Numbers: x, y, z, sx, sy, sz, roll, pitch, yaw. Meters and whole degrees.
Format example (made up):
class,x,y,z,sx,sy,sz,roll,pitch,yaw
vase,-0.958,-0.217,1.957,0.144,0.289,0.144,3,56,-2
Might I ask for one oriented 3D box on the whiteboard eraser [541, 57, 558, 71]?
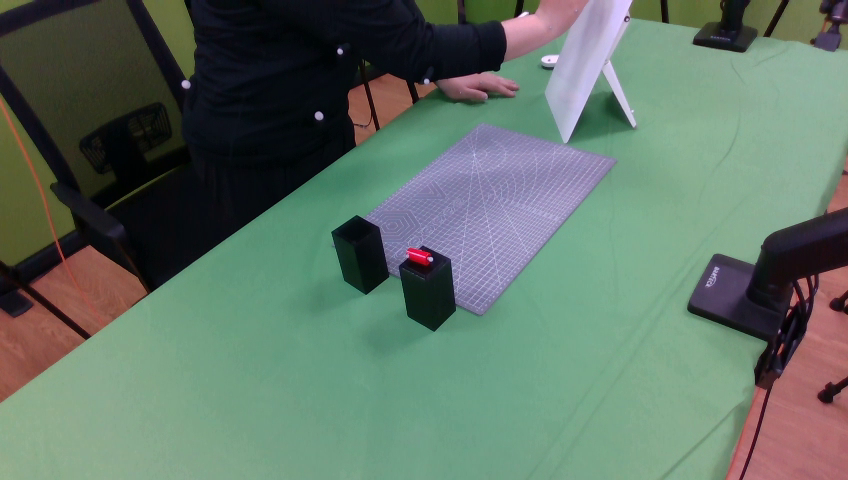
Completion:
class,x,y,z,sx,sy,sz,roll,pitch,yaw
whiteboard eraser,0.324,-0.412,1.408,0.101,0.019,0.041,2,42,11

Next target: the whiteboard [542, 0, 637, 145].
class,x,y,z,sx,sy,sz,roll,pitch,yaw
whiteboard,0.366,-0.351,1.160,0.144,0.305,0.216,10,39,-10

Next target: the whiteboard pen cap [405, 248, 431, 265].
class,x,y,z,sx,sy,sz,roll,pitch,yaw
whiteboard pen cap,-0.008,0.021,0.794,0.032,0.017,0.017,16,45,28
